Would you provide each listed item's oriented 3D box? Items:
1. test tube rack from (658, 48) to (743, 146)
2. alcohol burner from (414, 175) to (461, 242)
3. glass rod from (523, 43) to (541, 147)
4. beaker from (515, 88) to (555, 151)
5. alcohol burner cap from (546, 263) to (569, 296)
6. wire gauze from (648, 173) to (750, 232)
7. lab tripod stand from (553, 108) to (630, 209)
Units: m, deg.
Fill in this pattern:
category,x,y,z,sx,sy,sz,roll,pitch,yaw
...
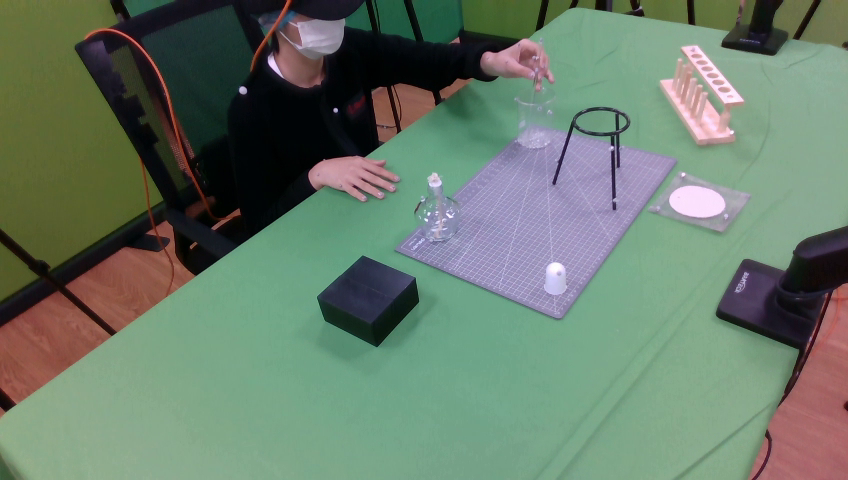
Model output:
category,x,y,z,sx,sy,sz,roll,pitch,yaw
test tube rack,0.532,-0.284,1.181,0.067,0.085,0.241,-5,40,4
alcohol burner,0.021,-0.055,0.963,0.078,0.119,0.077,-3,41,4
glass rod,0.196,-0.260,1.108,0.008,0.200,0.008,2,36,-1
beaker,0.213,-0.230,1.152,0.073,0.101,0.084,20,46,29
alcohol burner cap,0.191,0.053,0.862,0.034,0.048,0.033,-5,40,4
wire gauze,0.451,-0.062,0.990,0.120,0.011,0.125,26,49,32
lab tripod stand,0.292,-0.144,1.010,0.148,0.132,0.147,-5,38,4
